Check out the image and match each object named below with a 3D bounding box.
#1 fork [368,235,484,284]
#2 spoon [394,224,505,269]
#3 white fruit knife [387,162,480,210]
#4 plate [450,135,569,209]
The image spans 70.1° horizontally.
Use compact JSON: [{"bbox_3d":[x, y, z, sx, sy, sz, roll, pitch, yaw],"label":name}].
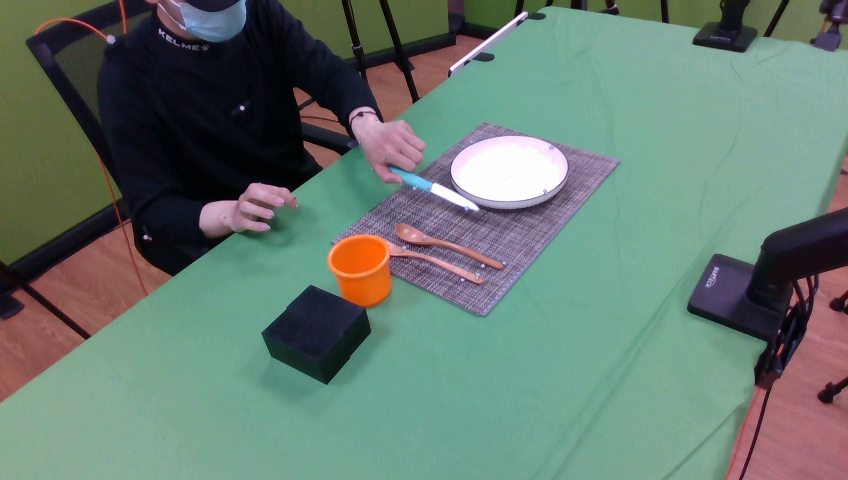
[{"bbox_3d":[0.001,0.030,0.930,0.206,0.019,0.028,18,41,28],"label":"fork"},{"bbox_3d":[0.037,0.010,0.945,0.192,0.022,0.042,17,28,26],"label":"spoon"},{"bbox_3d":[0.010,-0.089,0.993,0.205,0.016,0.027,27,52,34],"label":"white fruit knife"},{"bbox_3d":[0.149,-0.117,1.066,0.209,0.038,0.208,-4,41,4],"label":"plate"}]
